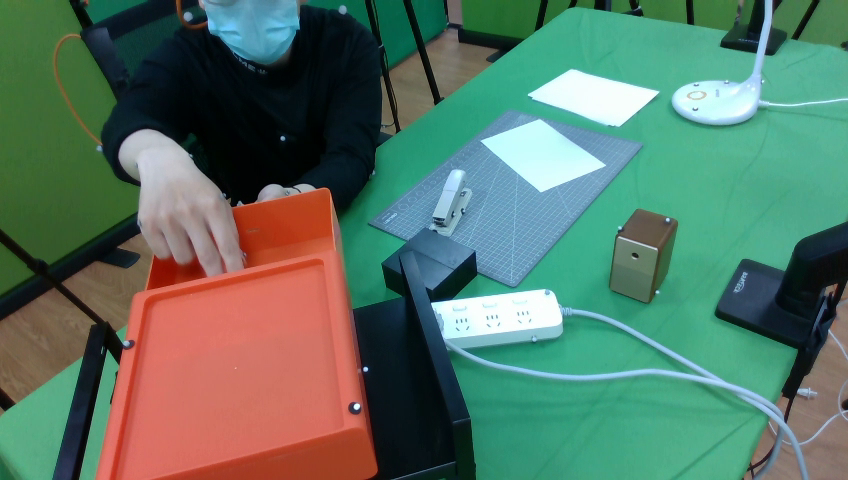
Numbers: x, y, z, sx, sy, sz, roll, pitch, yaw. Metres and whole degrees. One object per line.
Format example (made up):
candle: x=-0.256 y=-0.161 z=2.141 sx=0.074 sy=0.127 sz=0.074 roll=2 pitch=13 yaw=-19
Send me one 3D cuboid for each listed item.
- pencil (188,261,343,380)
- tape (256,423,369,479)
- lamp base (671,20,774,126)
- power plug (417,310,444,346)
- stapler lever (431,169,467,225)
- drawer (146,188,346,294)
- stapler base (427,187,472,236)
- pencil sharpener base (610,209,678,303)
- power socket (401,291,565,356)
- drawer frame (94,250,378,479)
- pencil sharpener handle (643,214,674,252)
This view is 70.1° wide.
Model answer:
pencil: x=-0.156 y=0.077 z=0.622 sx=0.012 sy=0.012 sz=0.194 roll=29 pitch=54 yaw=35
tape: x=-0.121 y=0.263 z=0.660 sx=0.117 sy=0.053 sz=0.116 roll=-5 pitch=39 yaw=4
lamp base: x=0.581 y=-0.332 z=1.154 sx=0.179 sy=0.181 sz=0.160 roll=2 pitch=42 yaw=7
power plug: x=0.006 y=0.122 z=0.785 sx=0.035 sy=0.053 sz=0.072 roll=0 pitch=40 yaw=9
stapler lever: x=0.043 y=-0.074 z=1.010 sx=0.026 sy=0.040 sz=0.118 roll=9 pitch=44 yaw=21
drawer: x=-0.180 y=0.049 z=0.623 sx=0.195 sy=0.073 sz=0.210 roll=-11 pitch=41 yaw=-5
stapler base: x=0.045 y=-0.057 z=1.028 sx=0.041 sy=0.024 sz=0.130 roll=9 pitch=44 yaw=21
pencil sharpener base: x=0.304 y=0.021 z=0.839 sx=0.061 sy=0.107 sz=0.077 roll=21 pitch=48 yaw=30
power socket: x=0.080 y=0.112 z=0.822 sx=0.227 sy=0.033 sz=0.072 roll=-6 pitch=41 yaw=0
drawer frame: x=-0.156 y=0.119 z=0.532 sx=0.202 sy=0.083 sz=0.212 roll=-12 pitch=41 yaw=-7
pencil sharpener handle: x=0.338 y=-0.016 z=0.857 sx=0.035 sy=0.068 sz=0.031 roll=1 pitch=35 yaw=44
